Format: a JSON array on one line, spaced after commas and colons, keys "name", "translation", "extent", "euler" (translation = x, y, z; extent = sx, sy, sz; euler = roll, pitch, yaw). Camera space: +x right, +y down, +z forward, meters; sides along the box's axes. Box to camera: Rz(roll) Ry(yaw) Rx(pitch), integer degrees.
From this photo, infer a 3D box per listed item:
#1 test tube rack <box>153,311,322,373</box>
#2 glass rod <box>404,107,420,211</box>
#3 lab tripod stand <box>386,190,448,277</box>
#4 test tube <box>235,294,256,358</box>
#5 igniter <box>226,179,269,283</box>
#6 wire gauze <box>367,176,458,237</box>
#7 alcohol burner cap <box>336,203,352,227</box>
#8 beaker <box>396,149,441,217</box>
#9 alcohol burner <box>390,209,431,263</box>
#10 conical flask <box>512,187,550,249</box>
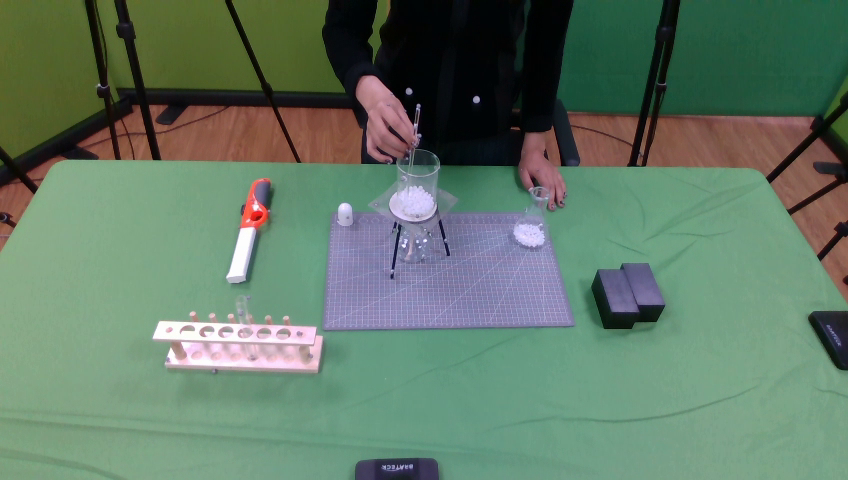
[{"name": "test tube rack", "translation": [-0.293, 0.160, 0.978], "extent": [0.242, 0.085, 0.066], "euler": [3, 46, -2]}, {"name": "glass rod", "translation": [-0.021, -0.128, 1.001], "extent": [0.008, 0.200, 0.008], "euler": [6, 39, -4]}, {"name": "lab tripod stand", "translation": [-0.021, -0.018, 1.135], "extent": [0.148, 0.132, 0.147], "euler": [3, 44, -3]}, {"name": "test tube", "translation": [-0.274, 0.136, 0.933], "extent": [0.017, 0.151, 0.017], "euler": [4, 46, -4]}, {"name": "igniter", "translation": [-0.345, -0.027, 1.195], "extent": [0.057, 0.025, 0.274], "euler": [-6, 46, 5]}, {"name": "wire gauze", "translation": [-0.020, -0.066, 1.089], "extent": [0.124, 0.011, 0.121], "euler": [27, 47, 22]}, {"name": "alcohol burner cap", "translation": [-0.162, -0.053, 1.221], "extent": [0.034, 0.048, 0.033], "euler": [2, 47, -2]}, {"name": "beaker", "translation": [-0.015, -0.098, 1.054], "extent": [0.074, 0.101, 0.083], "euler": [-32, 55, -31]}, {"name": "alcohol burner", "translation": [-0.024, -0.014, 1.145], "extent": [0.078, 0.119, 0.077], "euler": [4, 44, -3]}, {"name": "conical flask", "translation": [0.217, -0.048, 1.190], "extent": [0.075, 0.122, 0.075], "euler": [2, 46, -2]}]
